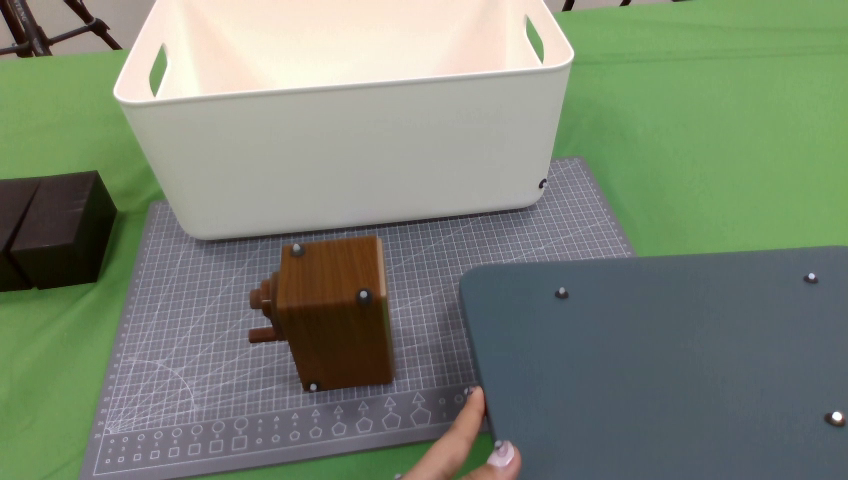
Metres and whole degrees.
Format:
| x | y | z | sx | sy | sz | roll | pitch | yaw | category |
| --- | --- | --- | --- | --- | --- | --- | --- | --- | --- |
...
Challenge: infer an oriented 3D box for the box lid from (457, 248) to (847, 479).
| x | y | z | sx | sy | sz | roll | pitch | yaw | category |
| --- | --- | --- | --- | --- | --- | --- | --- | --- | --- |
| 0.214 | 0.077 | 0.414 | 0.372 | 0.015 | 0.261 | -3 | 26 | -4 | box lid |

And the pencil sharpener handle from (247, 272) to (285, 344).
| x | y | z | sx | sy | sz | roll | pitch | yaw | category |
| --- | --- | --- | --- | --- | --- | --- | --- | --- | --- |
| -0.116 | 0.052 | 0.426 | 0.031 | 0.068 | 0.035 | -6 | 48 | -3 | pencil sharpener handle |

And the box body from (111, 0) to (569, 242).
| x | y | z | sx | sy | sz | roll | pitch | yaw | category |
| --- | --- | --- | --- | --- | --- | --- | --- | --- | --- |
| -0.070 | -0.145 | 0.604 | 0.364 | 0.162 | 0.251 | -6 | 44 | -4 | box body |

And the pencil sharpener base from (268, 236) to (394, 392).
| x | y | z | sx | sy | sz | roll | pitch | yaw | category |
| --- | --- | --- | --- | --- | --- | --- | --- | --- | --- |
| -0.064 | 0.056 | 0.438 | 0.077 | 0.108 | 0.060 | -6 | 45 | -3 | pencil sharpener base |
